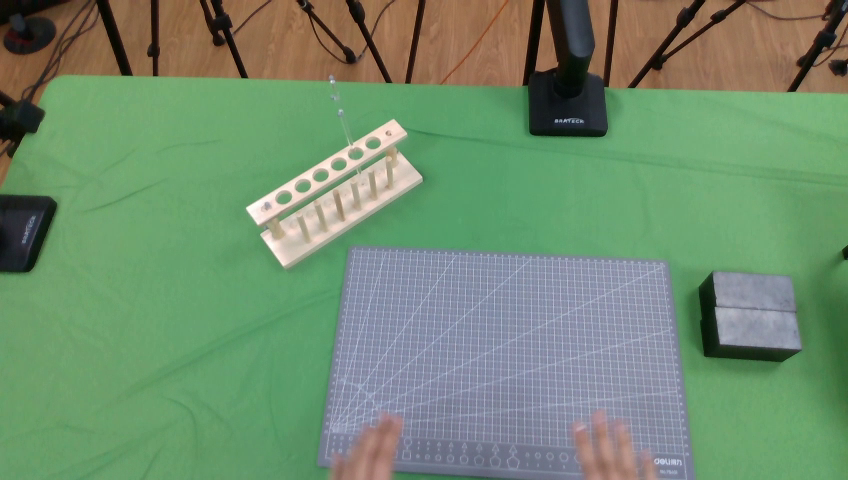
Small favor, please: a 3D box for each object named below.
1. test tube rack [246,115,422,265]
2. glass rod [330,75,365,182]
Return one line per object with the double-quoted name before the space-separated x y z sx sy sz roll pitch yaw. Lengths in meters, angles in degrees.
"test tube rack" -0.120 -0.071 0.859 0.242 0.086 0.066 -34 66 -15
"glass rod" -0.103 -0.144 0.822 0.008 0.201 0.008 -3 56 5
